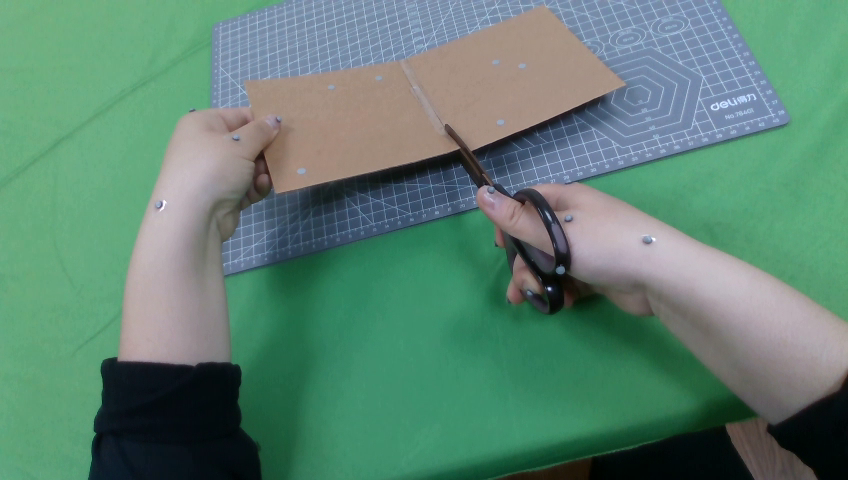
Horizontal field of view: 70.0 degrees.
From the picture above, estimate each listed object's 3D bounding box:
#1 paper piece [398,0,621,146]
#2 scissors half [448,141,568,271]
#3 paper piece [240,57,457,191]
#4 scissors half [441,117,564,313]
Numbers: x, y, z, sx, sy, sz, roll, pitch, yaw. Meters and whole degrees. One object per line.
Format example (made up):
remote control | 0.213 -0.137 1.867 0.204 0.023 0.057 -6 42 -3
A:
paper piece | 0.062 -0.139 0.485 0.135 0.004 0.134 -23 51 -4
scissors half | 0.045 -0.038 0.395 0.013 0.040 0.173 -19 37 -13
paper piece | -0.062 -0.096 0.463 0.138 0.009 0.134 -16 45 -12
scissors half | 0.047 -0.024 0.412 0.013 0.040 0.173 -22 63 -9
